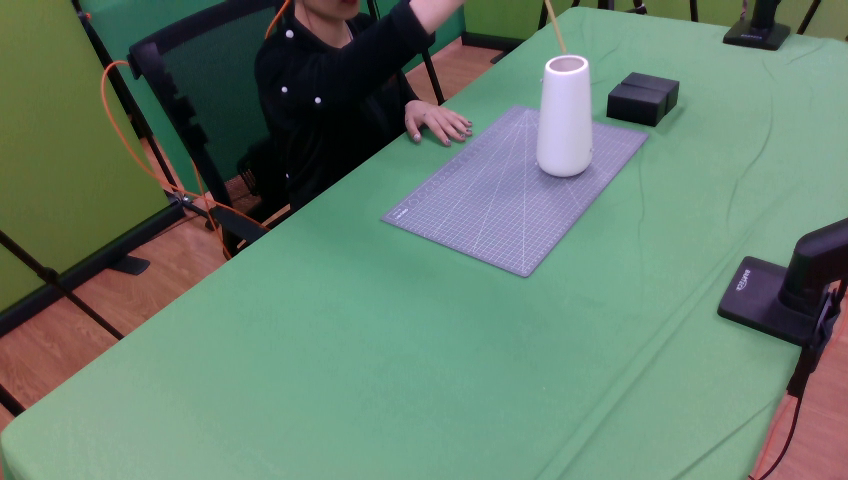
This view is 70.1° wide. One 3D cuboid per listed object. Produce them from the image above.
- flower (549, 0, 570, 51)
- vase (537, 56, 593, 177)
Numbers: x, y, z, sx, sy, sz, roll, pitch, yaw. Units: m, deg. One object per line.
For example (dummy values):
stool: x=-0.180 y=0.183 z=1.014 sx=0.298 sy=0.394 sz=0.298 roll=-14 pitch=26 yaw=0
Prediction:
flower: x=0.146 y=-0.430 z=0.854 sx=0.038 sy=0.364 sz=0.044 roll=-16 pitch=35 yaw=25
vase: x=0.245 y=-0.209 z=1.040 sx=0.098 sy=0.201 sz=0.097 roll=-4 pitch=40 yaw=4
